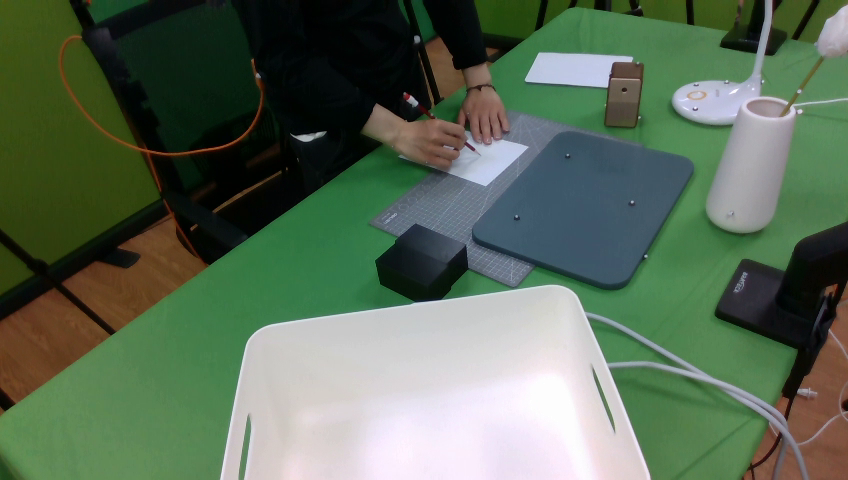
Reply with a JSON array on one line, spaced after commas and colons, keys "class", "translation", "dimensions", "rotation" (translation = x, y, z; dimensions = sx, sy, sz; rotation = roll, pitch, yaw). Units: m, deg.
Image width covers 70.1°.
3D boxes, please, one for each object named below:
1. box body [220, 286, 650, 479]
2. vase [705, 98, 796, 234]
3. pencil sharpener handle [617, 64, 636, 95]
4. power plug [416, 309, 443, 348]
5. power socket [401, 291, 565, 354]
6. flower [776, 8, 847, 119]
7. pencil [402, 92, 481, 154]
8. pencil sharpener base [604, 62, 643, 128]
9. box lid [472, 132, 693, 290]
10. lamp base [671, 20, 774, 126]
[{"class": "box body", "translation": [0.006, 0.210, 0.618], "dimensions": [0.364, 0.161, 0.252], "rotation": [-8, 40, -1]}, {"class": "vase", "translation": [0.480, -0.104, 0.889], "dimensions": [0.098, 0.201, 0.097], "rotation": [-4, 42, 4]}, {"class": "pencil sharpener handle", "translation": [0.401, -0.326, 1.211], "dimensions": [0.036, 0.068, 0.030], "rotation": [16, 44, 8]}, {"class": "power plug", "translation": [0.004, 0.121, 0.787], "dimensions": [0.035, 0.053, 0.072], "rotation": [2, 46, 8]}, {"class": "power socket", "translation": [0.080, 0.111, 0.823], "dimensions": [0.227, 0.033, 0.072], "rotation": [-5, 41, 1]}, {"class": "flower", "translation": [0.476, -0.156, 0.822], "dimensions": [0.038, 0.362, 0.044], "rotation": [8, 58, 2]}, {"class": "pencil", "translation": [0.036, -0.212, 1.112], "dimensions": [0.012, 0.195, 0.012], "rotation": [-38, 34, 32]}, {"class": "pencil sharpener base", "translation": [0.390, -0.284, 1.182], "dimensions": [0.061, 0.107, 0.076], "rotation": [7, 42, 17]}, {"class": "box lid", "translation": [0.273, -0.068, 1.020], "dimensions": [0.261, 0.015, 0.372], "rotation": [20, 47, 28]}, {"class": "lamp base", "translation": [0.581, -0.332, 1.154], "dimensions": [0.179, 0.181, 0.160], "rotation": [2, 42, 7]}]
